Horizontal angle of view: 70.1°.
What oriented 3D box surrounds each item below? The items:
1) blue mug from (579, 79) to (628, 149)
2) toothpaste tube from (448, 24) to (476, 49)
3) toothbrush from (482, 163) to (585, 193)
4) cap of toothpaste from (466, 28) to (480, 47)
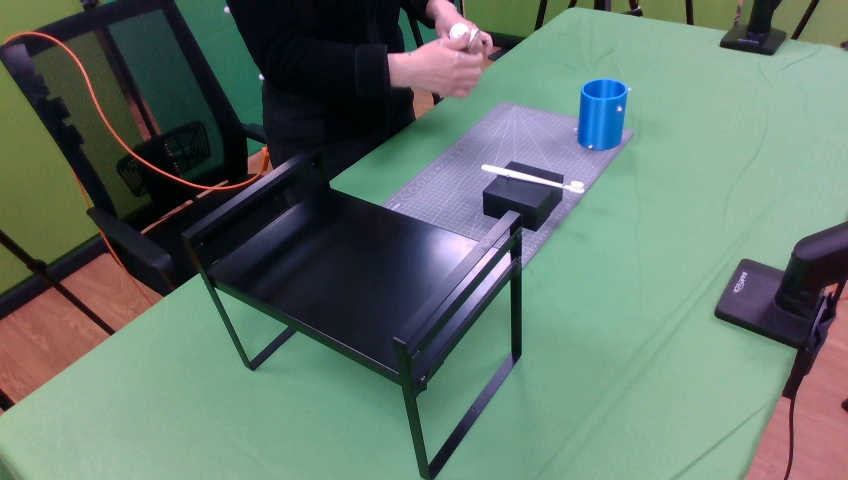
[{"bbox_3d":[0.336,-0.246,1.143,0.082,0.106,0.116,0,41,10],"label":"blue mug"},{"bbox_3d":[0.072,-0.371,1.122,0.055,0.034,0.165,9,9,1],"label":"toothpaste tube"},{"bbox_3d":[0.178,-0.105,0.997,0.180,0.017,0.014,17,52,26],"label":"toothbrush"},{"bbox_3d":[0.083,-0.348,1.034,0.011,0.037,0.037,31,44,-8],"label":"cap of toothpaste"}]
